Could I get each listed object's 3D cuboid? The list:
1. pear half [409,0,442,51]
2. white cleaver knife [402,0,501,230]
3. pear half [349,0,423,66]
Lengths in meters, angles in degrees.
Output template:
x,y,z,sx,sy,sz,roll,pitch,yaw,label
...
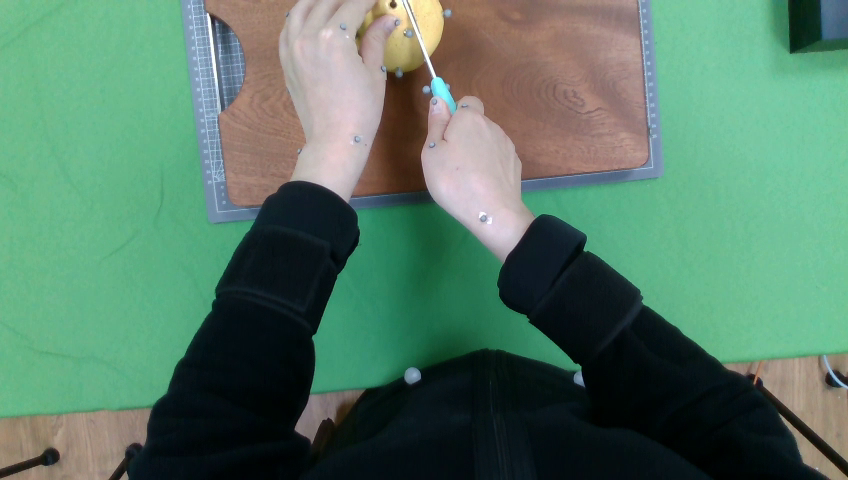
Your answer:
x,y,z,sx,sy,sz,roll,pitch,yaw,label
-0.002,-0.200,0.519,0.031,0.088,0.070,-28,88,-2,pear half
0.008,-0.144,0.505,0.021,0.066,0.286,-20,90,5,white cleaver knife
-0.036,-0.185,0.509,0.056,0.110,0.076,-29,87,4,pear half
